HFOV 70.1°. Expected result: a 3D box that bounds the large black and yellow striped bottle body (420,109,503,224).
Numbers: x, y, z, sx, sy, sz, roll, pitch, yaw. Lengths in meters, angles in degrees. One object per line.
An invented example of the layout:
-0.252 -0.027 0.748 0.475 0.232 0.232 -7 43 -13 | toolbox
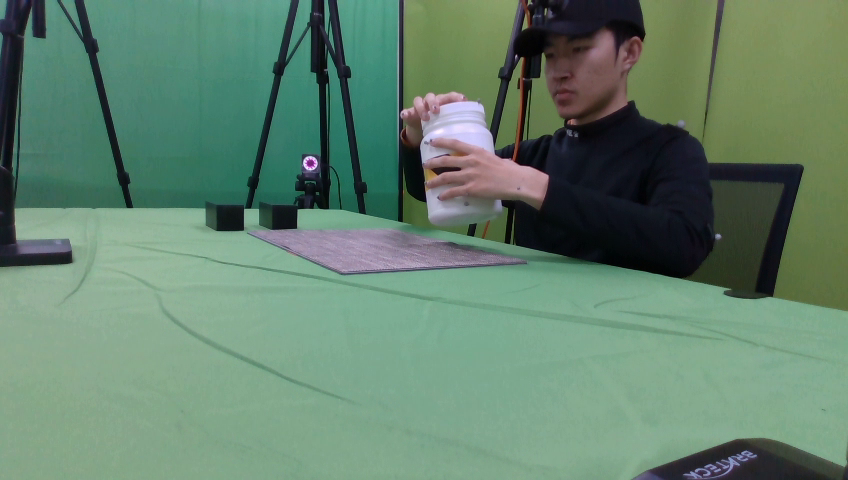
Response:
0.063 -0.128 1.063 0.131 0.183 0.131 -7 -7 0 | large black and yellow striped bottle body

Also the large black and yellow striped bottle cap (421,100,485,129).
0.051 -0.218 1.074 0.115 0.019 0.115 -10 -8 -1 | large black and yellow striped bottle cap
